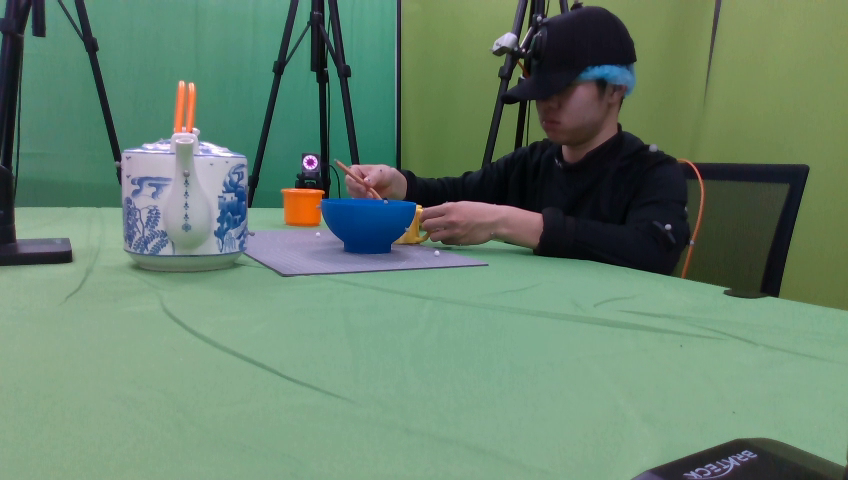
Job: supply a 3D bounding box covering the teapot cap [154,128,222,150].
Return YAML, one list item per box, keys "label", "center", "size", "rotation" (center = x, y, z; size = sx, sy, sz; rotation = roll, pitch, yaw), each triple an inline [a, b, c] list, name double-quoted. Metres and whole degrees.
- label: "teapot cap"
  center: [-0.294, -0.117, 0.754]
  size: [0.085, 0.044, 0.085]
  rotation: [4, 9, 0]

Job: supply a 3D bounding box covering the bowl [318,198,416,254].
- label: "bowl"
  center: [-0.089, -0.022, 0.941]
  size: [0.151, 0.077, 0.151]
  rotation: [2, 7, 0]

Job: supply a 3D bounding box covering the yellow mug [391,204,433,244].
- label: "yellow mug"
  center: [-0.042, -0.030, 1.070]
  size: [0.130, 0.064, 0.100]
  rotation: [7, 9, 27]

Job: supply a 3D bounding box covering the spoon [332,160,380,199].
- label: "spoon"
  center: [-0.090, -0.077, 1.079]
  size: [0.194, 0.021, 0.041]
  rotation: [46, 10, -3]

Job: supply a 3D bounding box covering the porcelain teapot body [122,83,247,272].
- label: "porcelain teapot body"
  center: [-0.286, -0.075, 0.733]
  size: [0.146, 0.225, 0.204]
  rotation: [0, 8, -24]
